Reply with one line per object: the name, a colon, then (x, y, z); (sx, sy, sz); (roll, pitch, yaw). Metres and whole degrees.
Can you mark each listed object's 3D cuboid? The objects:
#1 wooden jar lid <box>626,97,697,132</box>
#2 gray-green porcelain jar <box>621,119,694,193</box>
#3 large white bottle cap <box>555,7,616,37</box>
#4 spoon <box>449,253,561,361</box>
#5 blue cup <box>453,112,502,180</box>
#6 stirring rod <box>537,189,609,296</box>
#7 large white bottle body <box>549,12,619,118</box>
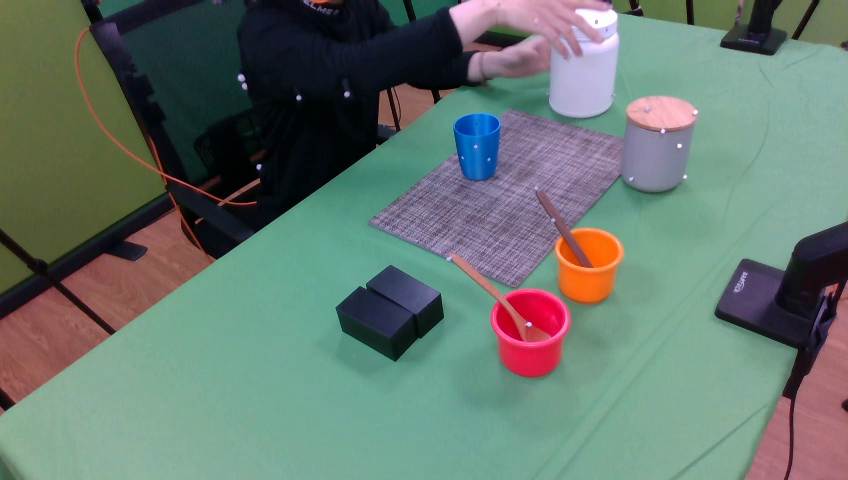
wooden jar lid: (0.381, -0.198, 0.976); (0.108, 0.021, 0.108); (-2, 40, 3)
gray-green porcelain jar: (0.389, -0.152, 1.016); (0.106, 0.127, 0.105); (-4, 40, 4)
large white bottle cap: (0.311, -0.420, 1.163); (0.115, 0.018, 0.114); (-4, 40, 4)
spoon: (0.103, 0.083, 0.770); (0.194, 0.021, 0.042); (47, 51, -7)
blue cup: (0.097, -0.166, 1.088); (0.092, 0.100, 0.092); (-3, 40, 3)
stirring rod: (0.210, 0.003, 0.855); (0.014, 0.006, 0.176); (-32, 89, -30)
large white bottle body: (0.320, -0.356, 1.218); (0.130, 0.185, 0.130); (-4, 41, 4)
